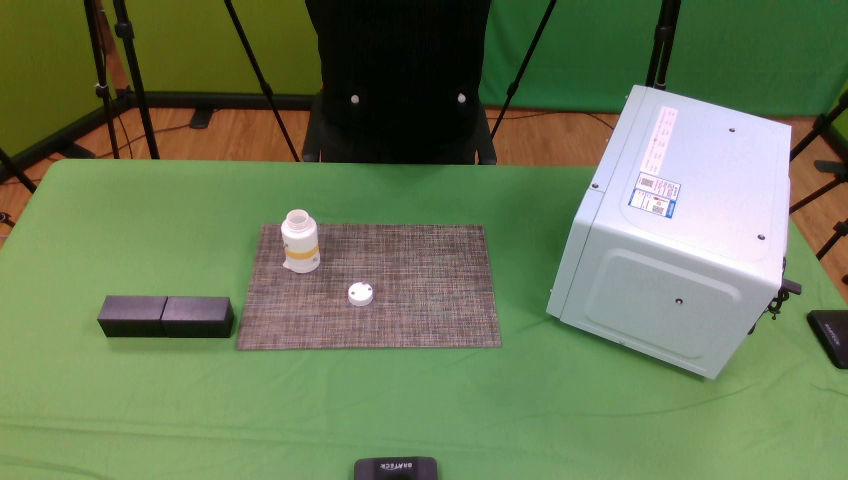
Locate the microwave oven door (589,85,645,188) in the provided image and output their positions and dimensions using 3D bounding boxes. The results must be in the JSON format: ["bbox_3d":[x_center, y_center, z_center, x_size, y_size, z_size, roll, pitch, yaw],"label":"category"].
[{"bbox_3d":[0.342,-0.107,1.149,0.039,0.245,0.354,20,48,15],"label":"microwave oven door"}]

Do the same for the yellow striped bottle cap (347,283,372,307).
[{"bbox_3d":[-0.116,0.098,1.093,0.044,0.019,0.044,3,45,-2],"label":"yellow striped bottle cap"}]

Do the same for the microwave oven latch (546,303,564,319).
[{"bbox_3d":[0.242,0.102,1.081,0.030,0.029,0.079,21,48,17],"label":"microwave oven latch"}]

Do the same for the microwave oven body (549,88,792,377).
[{"bbox_3d":[0.456,-0.028,1.088,0.325,0.261,0.440,20,47,16],"label":"microwave oven body"}]

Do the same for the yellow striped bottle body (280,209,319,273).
[{"bbox_3d":[-0.227,0.000,1.105,0.063,0.121,0.062,2,46,-2],"label":"yellow striped bottle body"}]
